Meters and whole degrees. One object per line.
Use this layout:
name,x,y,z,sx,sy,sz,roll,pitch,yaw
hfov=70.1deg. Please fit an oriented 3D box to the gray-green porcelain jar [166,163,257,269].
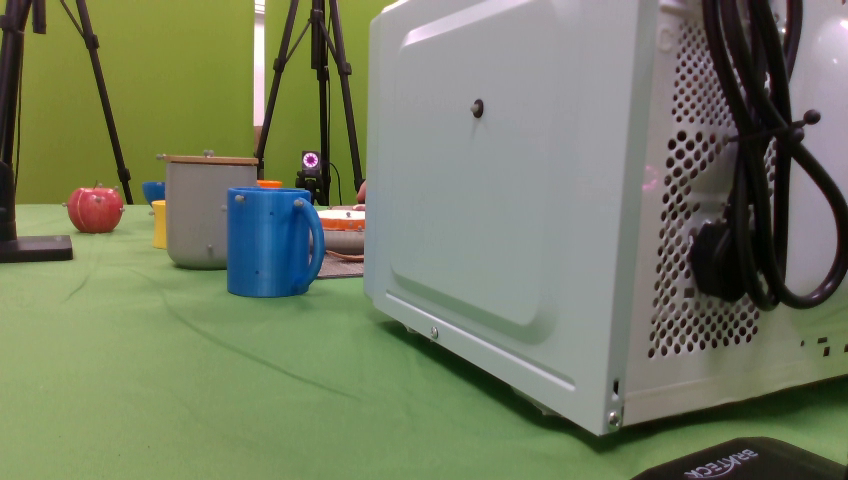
gray-green porcelain jar,-0.263,-0.031,0.754,0.106,0.126,0.106,2,7,0

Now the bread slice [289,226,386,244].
bread slice,-0.125,-0.008,0.938,0.131,0.019,0.105,5,7,31

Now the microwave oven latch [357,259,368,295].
microwave oven latch,-0.019,0.031,0.529,0.079,0.029,0.030,-1,7,-27

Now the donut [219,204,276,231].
donut,-0.316,-0.039,1.083,0.099,0.048,0.099,3,7,0

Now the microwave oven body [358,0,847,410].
microwave oven body,0.210,-0.051,0.471,0.444,0.260,0.324,-1,7,-28

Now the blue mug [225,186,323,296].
blue mug,-0.148,0.000,0.618,0.116,0.106,0.083,7,9,33

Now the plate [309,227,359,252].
plate,-0.130,-0.012,0.945,0.208,0.039,0.207,2,7,0

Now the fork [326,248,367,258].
fork,-0.032,0.015,0.835,0.208,0.018,0.028,-3,1,-24

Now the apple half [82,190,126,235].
apple half,-0.517,-0.046,0.994,0.032,0.081,0.081,0,6,26

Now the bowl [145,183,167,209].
bowl,-0.459,-0.068,1.175,0.151,0.077,0.151,3,7,0

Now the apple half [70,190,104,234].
apple half,-0.552,-0.047,1.010,0.053,0.074,0.081,0,9,26

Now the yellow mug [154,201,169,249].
yellow mug,-0.338,-0.022,0.899,0.130,0.064,0.100,8,9,34

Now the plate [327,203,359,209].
plate,-0.102,-0.053,1.299,0.209,0.038,0.209,2,8,0

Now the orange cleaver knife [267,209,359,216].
orange cleaver knife,-0.259,-0.064,1.423,0.212,0.012,0.077,-4,3,-30

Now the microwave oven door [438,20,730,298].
microwave oven door,0.181,-0.076,0.618,0.358,0.243,0.039,-2,8,-28

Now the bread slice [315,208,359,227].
bread slice,-0.127,-0.035,0.933,0.134,0.018,0.107,4,10,28

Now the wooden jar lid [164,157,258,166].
wooden jar lid,-0.261,-0.093,0.746,0.108,0.020,0.108,0,9,0

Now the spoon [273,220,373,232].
spoon,-0.180,-0.027,1.108,0.195,0.021,0.041,-3,-15,-33
